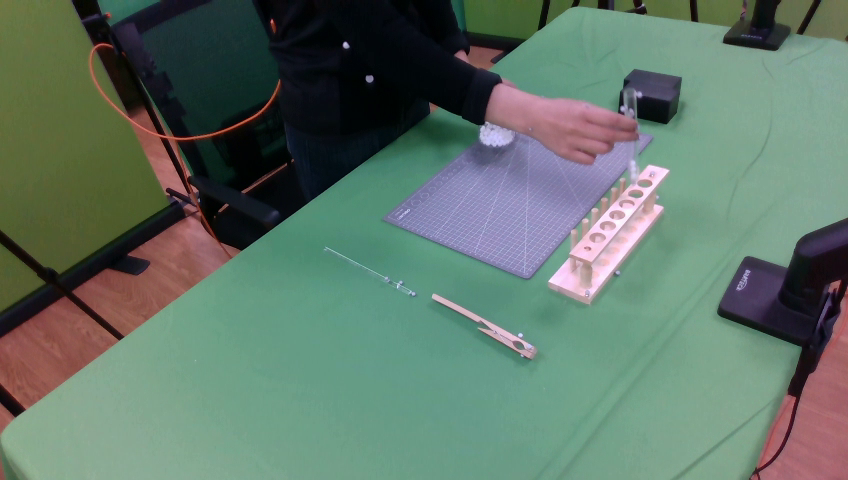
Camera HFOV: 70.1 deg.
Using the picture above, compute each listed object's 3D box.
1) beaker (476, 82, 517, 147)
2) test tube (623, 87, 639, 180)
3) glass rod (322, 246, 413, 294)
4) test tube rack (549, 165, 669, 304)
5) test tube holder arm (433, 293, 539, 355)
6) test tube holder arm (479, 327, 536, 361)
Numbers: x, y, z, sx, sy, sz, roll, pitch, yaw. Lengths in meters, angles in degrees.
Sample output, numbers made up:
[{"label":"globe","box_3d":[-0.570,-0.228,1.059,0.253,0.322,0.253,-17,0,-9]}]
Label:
[{"label":"beaker","box_3d":[0.133,-0.230,1.124,0.073,0.100,0.084,29,50,36]},{"label":"test tube","box_3d":[0.284,-0.142,0.829,0.017,0.151,0.017,-11,42,11]},{"label":"glass rod","box_3d":[-0.093,0.045,0.956,0.198,0.008,0.008,24,51,33]},{"label":"test tube rack","box_3d":[0.279,-0.018,0.902,0.066,0.085,0.243,24,50,33]},{"label":"test tube holder arm","box_3d":[0.081,0.113,0.833,0.177,0.015,0.013,28,84,37]},{"label":"test tube holder arm","box_3d":[0.110,0.135,0.806,0.087,0.015,0.010,29,84,37]}]
